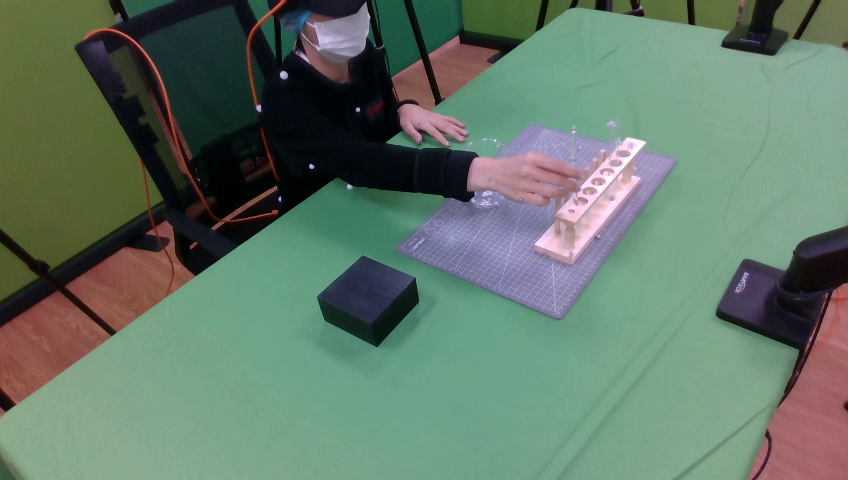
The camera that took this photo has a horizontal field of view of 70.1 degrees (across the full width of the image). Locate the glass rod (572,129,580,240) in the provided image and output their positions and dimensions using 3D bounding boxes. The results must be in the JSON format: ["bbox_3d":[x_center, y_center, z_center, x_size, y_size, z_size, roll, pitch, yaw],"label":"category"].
[{"bbox_3d":[0.220,-0.074,0.871,0.008,0.201,0.008,-8,42,8],"label":"glass rod"}]

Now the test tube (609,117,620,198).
[{"bbox_3d":[0.298,-0.125,0.946,0.017,0.151,0.017,-8,42,8],"label":"test tube"}]

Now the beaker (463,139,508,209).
[{"bbox_3d":[0.108,-0.111,1.027,0.073,0.101,0.084,25,49,33],"label":"beaker"}]

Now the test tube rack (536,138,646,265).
[{"bbox_3d":[0.268,-0.071,0.964,0.066,0.085,0.243,23,49,32],"label":"test tube rack"}]
